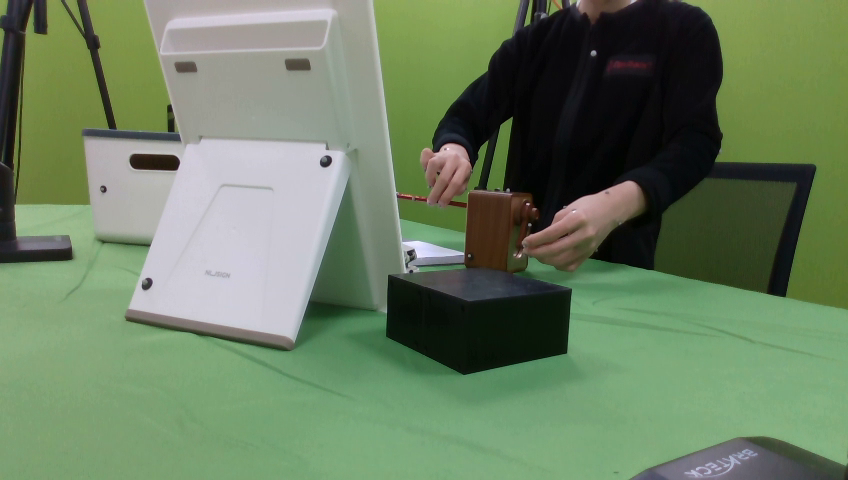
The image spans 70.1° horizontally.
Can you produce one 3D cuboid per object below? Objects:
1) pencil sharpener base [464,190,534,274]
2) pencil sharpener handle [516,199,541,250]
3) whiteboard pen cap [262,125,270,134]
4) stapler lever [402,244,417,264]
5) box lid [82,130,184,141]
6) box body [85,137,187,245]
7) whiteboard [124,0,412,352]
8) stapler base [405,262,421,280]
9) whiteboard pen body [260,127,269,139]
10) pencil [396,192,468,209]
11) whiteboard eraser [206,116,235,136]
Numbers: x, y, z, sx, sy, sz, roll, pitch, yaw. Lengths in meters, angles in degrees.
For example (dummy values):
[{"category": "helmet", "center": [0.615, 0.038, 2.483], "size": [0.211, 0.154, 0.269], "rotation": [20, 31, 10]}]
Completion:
[{"category": "pencil sharpener base", "center": [0.103, -0.012, 0.812], "size": [0.076, 0.107, 0.061], "rotation": [9, 9, 38]}, {"category": "pencil sharpener handle", "center": [0.139, -0.019, 0.774], "size": [0.030, 0.067, 0.036], "rotation": [9, -17, 38]}, {"category": "whiteboard pen cap", "center": [-0.349, -0.244, 1.336], "size": [0.018, 0.018, 0.033], "rotation": [0, 2, -17]}, {"category": "stapler lever", "center": [-0.066, 0.003, 0.754], "size": [0.117, 0.040, 0.027], "rotation": [9, 13, 23]}, {"category": "box lid", "center": [-0.337, -0.161, 1.011], "size": [0.263, 0.015, 0.372], "rotation": [4, 6, 11]}, {"category": "box body", "center": [-0.340, -0.088, 1.022], "size": [0.254, 0.160, 0.364], "rotation": [4, 7, 11]}, {"category": "whiteboard", "center": [-0.151, -0.049, 0.472], "size": [0.216, 0.305, 0.144], "rotation": [6, 27, 24]}, {"category": "stapler base", "center": [-0.069, 0.027, 0.759], "size": [0.130, 0.024, 0.041], "rotation": [9, 13, 23]}, {"category": "whiteboard pen body", "center": [-0.366, -0.247, 1.392], "size": [0.017, 0.017, 0.140], "rotation": [0, 4, -17]}, {"category": "pencil", "center": [0.014, -0.056, 0.873], "size": [0.193, 0.012, 0.012], "rotation": [12, 11, 35]}, {"category": "whiteboard eraser", "center": [-0.450, -0.252, 1.335], "size": [0.056, 0.042, 0.112], "rotation": [1, 7, -22]}]
